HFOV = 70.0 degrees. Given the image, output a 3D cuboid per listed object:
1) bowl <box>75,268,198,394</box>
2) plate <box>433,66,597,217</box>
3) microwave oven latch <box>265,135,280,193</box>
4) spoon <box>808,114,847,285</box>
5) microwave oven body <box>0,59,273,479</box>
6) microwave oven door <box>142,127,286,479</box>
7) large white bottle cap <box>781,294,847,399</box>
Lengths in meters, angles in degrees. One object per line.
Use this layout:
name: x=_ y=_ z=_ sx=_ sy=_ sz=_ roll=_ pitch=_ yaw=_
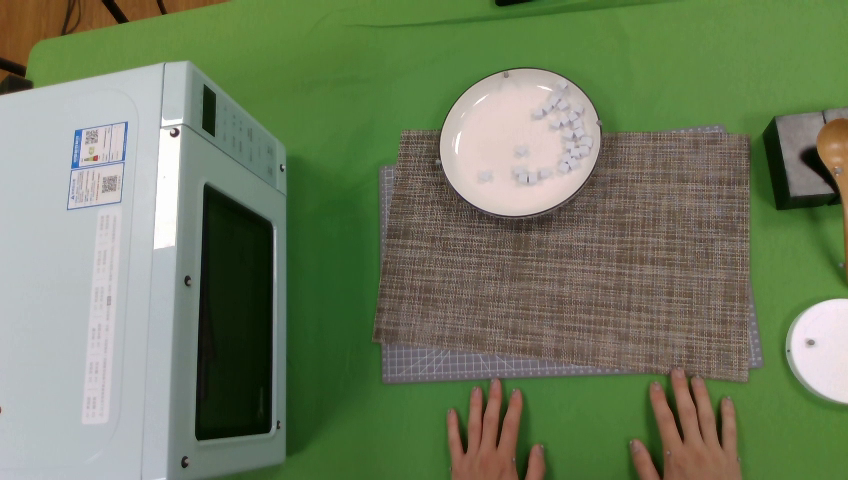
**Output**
bowl: x=-0.338 y=0.115 z=0.751 sx=0.151 sy=0.077 sz=0.150 roll=-3 pitch=75 yaw=12
plate: x=0.117 y=-0.125 z=0.789 sx=0.209 sy=0.038 sz=0.208 roll=-3 pitch=75 yaw=12
microwave oven latch: x=-0.218 y=-0.105 z=0.846 sx=0.030 sy=0.030 sz=0.078 roll=-7 pitch=76 yaw=11
spoon: x=0.456 y=-0.042 z=0.667 sx=0.041 sy=0.021 sz=0.194 roll=-12 pitch=96 yaw=8
microwave oven body: x=-0.373 y=0.060 z=0.740 sx=0.325 sy=0.262 sz=0.439 roll=-7 pitch=76 yaw=11
microwave oven door: x=-0.229 y=0.082 z=0.696 sx=0.039 sy=0.245 sz=0.353 roll=-7 pitch=75 yaw=12
large white bottle cap: x=0.458 y=0.116 z=0.666 sx=0.114 sy=0.018 sz=0.114 roll=-3 pitch=76 yaw=11
